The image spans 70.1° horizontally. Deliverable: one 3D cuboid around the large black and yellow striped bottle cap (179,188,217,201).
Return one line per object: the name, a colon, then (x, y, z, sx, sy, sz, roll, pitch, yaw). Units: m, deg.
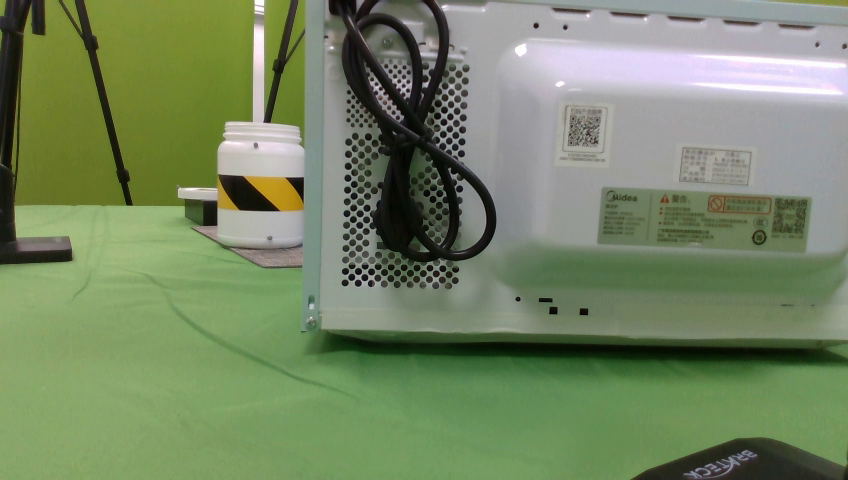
large black and yellow striped bottle cap: (-0.434, -0.093, 1.226, 0.115, 0.019, 0.115, 3, 9, 0)

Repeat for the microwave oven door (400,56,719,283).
microwave oven door: (0.155, -0.077, 0.698, 0.356, 0.243, 0.039, 2, 8, -5)

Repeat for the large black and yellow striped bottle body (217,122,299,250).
large black and yellow striped bottle body: (-0.250, -0.084, 0.931, 0.131, 0.184, 0.130, 2, 7, 0)

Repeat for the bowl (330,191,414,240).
bowl: (-0.095, -0.044, 1.096, 0.151, 0.077, 0.151, 3, 8, 0)

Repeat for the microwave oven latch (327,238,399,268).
microwave oven latch: (-0.069, 0.015, 0.694, 0.079, 0.029, 0.030, 3, 7, -3)

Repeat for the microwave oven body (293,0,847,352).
microwave oven body: (0.122, -0.055, 0.550, 0.442, 0.260, 0.325, 3, 7, -5)
